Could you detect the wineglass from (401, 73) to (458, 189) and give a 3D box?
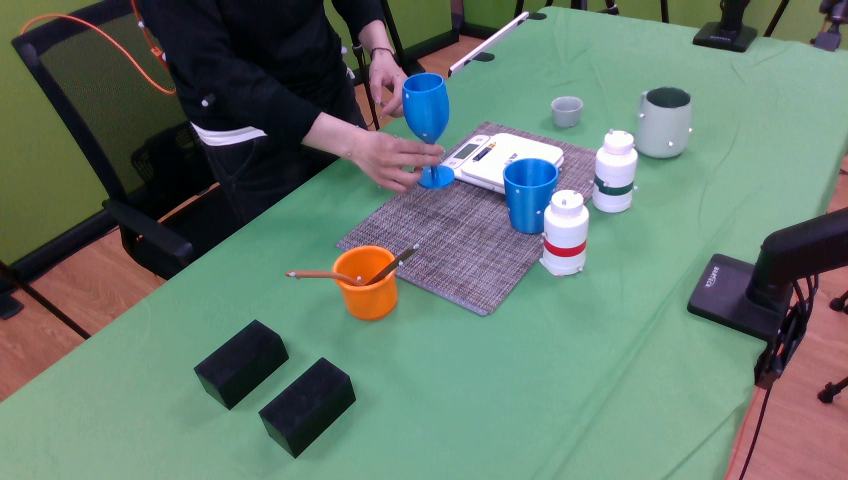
[{"bbox_3d":[0.008,-0.168,0.948,0.074,0.173,0.073,-5,41,5],"label":"wineglass"}]

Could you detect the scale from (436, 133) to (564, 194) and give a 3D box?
[{"bbox_3d":[0.137,-0.142,1.101,0.199,0.032,0.149,22,48,30],"label":"scale"}]

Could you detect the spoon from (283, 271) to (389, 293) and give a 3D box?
[{"bbox_3d":[-0.117,0.054,0.824,0.041,0.195,0.021,17,89,37],"label":"spoon"}]

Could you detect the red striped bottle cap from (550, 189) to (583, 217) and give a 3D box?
[{"bbox_3d":[0.199,-0.052,0.843,0.044,0.018,0.044,-2,42,2],"label":"red striped bottle cap"}]

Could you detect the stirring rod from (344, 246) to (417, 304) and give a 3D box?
[{"bbox_3d":[-0.062,0.050,0.819,0.014,0.175,0.006,-2,63,-41],"label":"stirring rod"}]

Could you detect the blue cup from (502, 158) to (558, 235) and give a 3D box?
[{"bbox_3d":[0.168,-0.064,0.954,0.092,0.100,0.092,-5,38,5],"label":"blue cup"}]

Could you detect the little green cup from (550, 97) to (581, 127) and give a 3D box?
[{"bbox_3d":[0.284,-0.255,1.213,0.061,0.039,0.061,-5,41,5],"label":"little green cup"}]

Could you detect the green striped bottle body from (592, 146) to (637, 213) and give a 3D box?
[{"bbox_3d":[0.307,-0.108,0.976,0.063,0.120,0.063,-4,41,4],"label":"green striped bottle body"}]

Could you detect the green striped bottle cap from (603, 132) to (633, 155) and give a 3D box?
[{"bbox_3d":[0.301,-0.149,0.938,0.044,0.020,0.044,-3,39,3],"label":"green striped bottle cap"}]

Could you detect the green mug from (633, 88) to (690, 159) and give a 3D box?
[{"bbox_3d":[0.423,-0.217,1.099,0.093,0.105,0.124,-16,41,-10],"label":"green mug"}]

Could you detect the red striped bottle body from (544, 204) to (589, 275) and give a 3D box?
[{"bbox_3d":[0.206,-0.011,0.877,0.063,0.120,0.062,-4,41,4],"label":"red striped bottle body"}]
